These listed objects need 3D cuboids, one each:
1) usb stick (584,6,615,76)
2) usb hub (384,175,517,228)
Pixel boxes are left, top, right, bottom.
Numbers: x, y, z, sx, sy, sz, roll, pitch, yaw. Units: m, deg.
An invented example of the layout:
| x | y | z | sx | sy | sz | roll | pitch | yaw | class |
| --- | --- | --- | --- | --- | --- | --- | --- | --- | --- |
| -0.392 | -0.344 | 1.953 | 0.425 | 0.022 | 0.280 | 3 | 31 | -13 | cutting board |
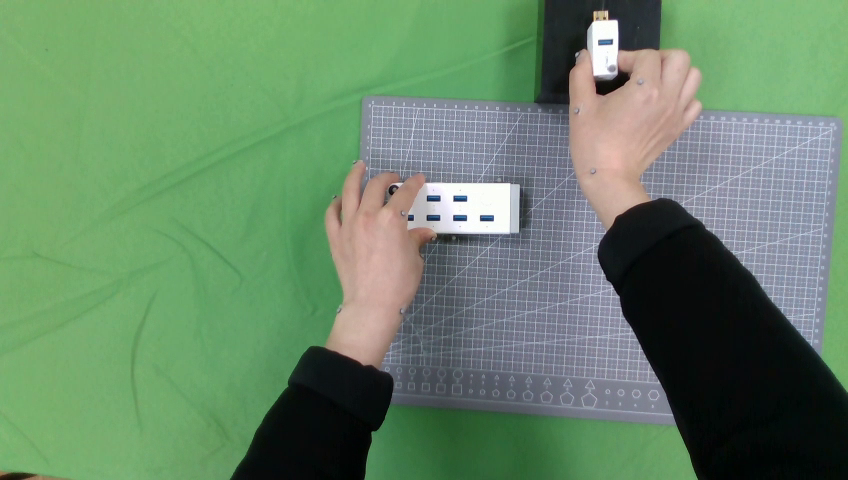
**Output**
| x | y | z | sx | sy | sz | roll | pitch | yaw | class |
| --- | --- | --- | --- | --- | --- | --- | --- | --- | --- |
| 0.148 | -0.171 | 0.511 | 0.021 | 0.027 | 0.059 | -1 | 90 | 2 | usb stick |
| 0.024 | -0.037 | 0.573 | 0.125 | 0.025 | 0.049 | 1 | 92 | 3 | usb hub |
